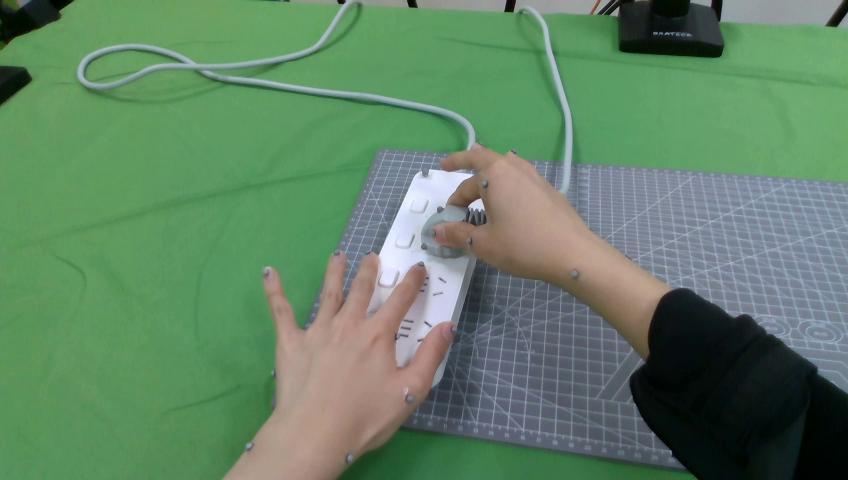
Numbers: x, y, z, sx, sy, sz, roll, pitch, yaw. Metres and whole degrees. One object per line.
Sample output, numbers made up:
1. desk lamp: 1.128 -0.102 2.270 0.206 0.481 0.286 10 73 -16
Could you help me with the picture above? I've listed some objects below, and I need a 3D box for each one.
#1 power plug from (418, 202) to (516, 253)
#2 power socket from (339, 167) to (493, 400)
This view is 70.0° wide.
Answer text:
1. power plug: 0.030 -0.001 0.457 0.072 0.053 0.035 14 49 21
2. power socket: 0.001 0.019 0.473 0.072 0.033 0.225 8 46 14
